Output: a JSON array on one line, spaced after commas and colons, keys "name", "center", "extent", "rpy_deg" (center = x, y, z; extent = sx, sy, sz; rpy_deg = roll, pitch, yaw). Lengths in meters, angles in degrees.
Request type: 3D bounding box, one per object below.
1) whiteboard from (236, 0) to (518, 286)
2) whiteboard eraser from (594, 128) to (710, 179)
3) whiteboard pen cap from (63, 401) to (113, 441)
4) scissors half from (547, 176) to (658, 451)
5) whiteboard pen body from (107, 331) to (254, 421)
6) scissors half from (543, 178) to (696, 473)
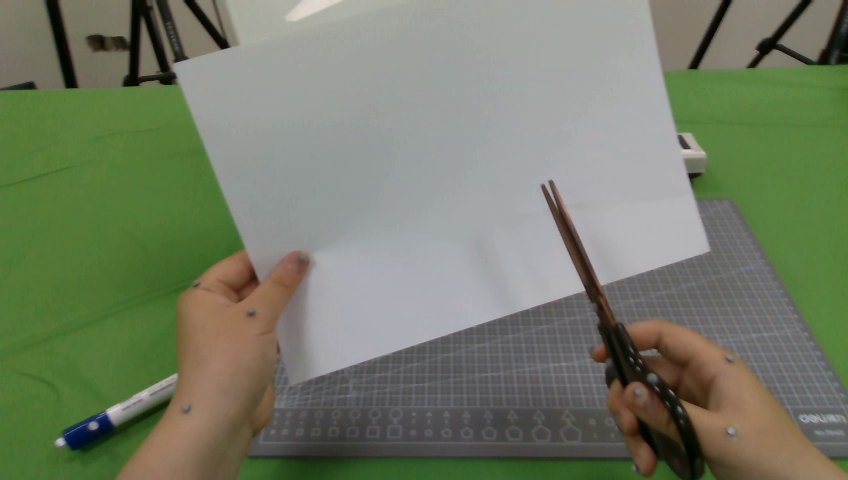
[{"name": "whiteboard", "center": [-0.055, -0.149, 0.597], "extent": [0.217, 0.307, 0.142], "rpy_deg": [-20, 23, -18]}, {"name": "whiteboard eraser", "center": [0.251, -0.095, 0.672], "extent": [0.113, 0.042, 0.055], "rpy_deg": [-2, 43, 0]}, {"name": "whiteboard pen cap", "center": [-0.246, 0.132, 0.447], "extent": [0.033, 0.018, 0.018], "rpy_deg": [-28, 47, -27]}, {"name": "scissors half", "center": [0.103, 0.044, 0.354], "extent": [0.013, 0.176, 0.040], "rpy_deg": [-24, 10, -6]}, {"name": "whiteboard pen body", "center": [-0.200, 0.110, 0.474], "extent": [0.141, 0.017, 0.017], "rpy_deg": [-27, 47, -28]}, {"name": "scissors half", "center": [0.104, 0.043, 0.333], "extent": [0.013, 0.040, 0.174], "rpy_deg": [-24, 78, -1]}]
